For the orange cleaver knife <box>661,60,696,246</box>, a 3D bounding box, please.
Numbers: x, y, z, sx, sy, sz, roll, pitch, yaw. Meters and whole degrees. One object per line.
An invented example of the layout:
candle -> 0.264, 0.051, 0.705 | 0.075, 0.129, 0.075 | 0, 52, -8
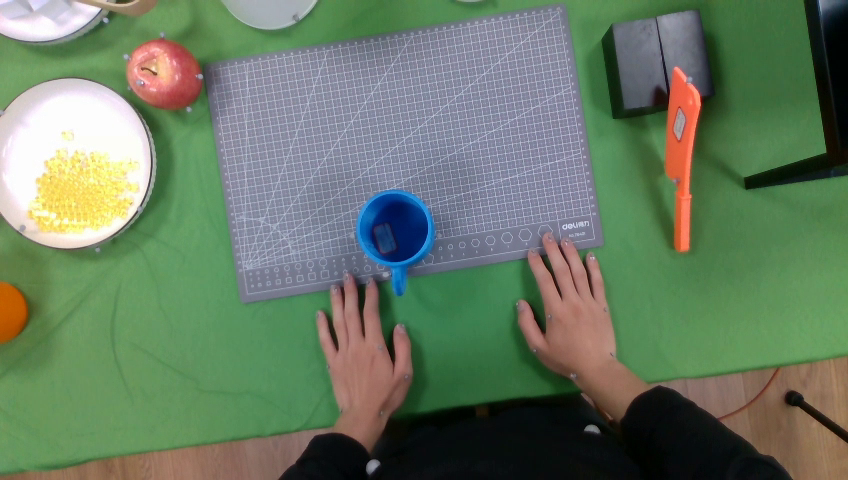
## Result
orange cleaver knife -> 0.286, -0.095, 0.692 | 0.012, 0.076, 0.213 | -10, 120, 1

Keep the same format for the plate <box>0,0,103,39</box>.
plate -> -0.470, -0.347, 0.742 | 0.207, 0.039, 0.207 | 0, 90, 2

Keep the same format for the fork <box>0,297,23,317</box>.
fork -> -0.580, 0.074, 0.687 | 0.209, 0.018, 0.028 | 9, 88, -41

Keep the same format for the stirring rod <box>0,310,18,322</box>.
stirring rod -> -0.568, 0.092, 0.689 | 0.177, 0.006, 0.014 | 0, 76, -38

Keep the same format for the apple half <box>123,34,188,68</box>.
apple half -> -0.320, -0.223, 0.718 | 0.081, 0.081, 0.033 | -24, 93, 2

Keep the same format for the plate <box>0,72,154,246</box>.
plate -> -0.428, -0.097, 0.739 | 0.209, 0.038, 0.209 | 0, 90, 2

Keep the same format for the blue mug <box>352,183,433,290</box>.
blue mug -> -0.033, -0.001, 0.690 | 0.082, 0.106, 0.116 | -1, 89, 2

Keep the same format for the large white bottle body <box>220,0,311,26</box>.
large white bottle body -> -0.197, -0.330, 0.661 | 0.130, 0.185, 0.130 | 0, 88, 2

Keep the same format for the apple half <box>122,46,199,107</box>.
apple half -> -0.304, -0.187, 0.719 | 0.081, 0.074, 0.053 | -24, 93, -2

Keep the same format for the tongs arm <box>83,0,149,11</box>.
tongs arm -> -0.507, -0.334, 0.711 | 0.384, 0.026, 0.050 | 19, 86, 4
